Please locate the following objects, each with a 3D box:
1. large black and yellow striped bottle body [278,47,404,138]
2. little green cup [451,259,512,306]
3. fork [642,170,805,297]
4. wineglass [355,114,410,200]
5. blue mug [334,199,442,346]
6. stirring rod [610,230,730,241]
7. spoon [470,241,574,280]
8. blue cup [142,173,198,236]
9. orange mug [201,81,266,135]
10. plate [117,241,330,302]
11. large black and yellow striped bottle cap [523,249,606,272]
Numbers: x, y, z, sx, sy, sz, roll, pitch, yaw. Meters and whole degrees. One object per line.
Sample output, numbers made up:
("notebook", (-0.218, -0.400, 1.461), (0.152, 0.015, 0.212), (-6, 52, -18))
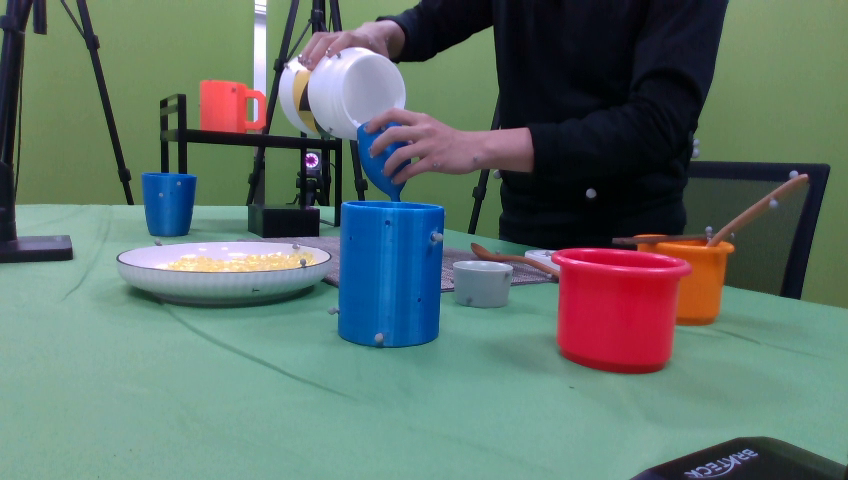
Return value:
("large black and yellow striped bottle body", (-0.125, -0.221, 0.915), (0.131, 0.130, 0.183), (-4, 12, -37))
("little green cup", (0.057, 0.043, 0.611), (0.061, 0.038, 0.061), (3, 8, 0))
("fork", (0.261, 0.004, 0.545), (0.028, 0.018, 0.207), (5, -37, -15))
("wineglass", (-0.046, -0.080, 0.831), (0.074, 0.172, 0.074), (-13, -7, -1))
("blue mug", (-0.034, 0.020, 0.498), (0.083, 0.106, 0.116), (0, 7, -19))
("stirring rod", (0.241, -0.005, 0.582), (0.177, 0.006, 0.014), (-3, 10, -34))
("spoon", (0.124, 0.025, 0.800), (0.042, 0.021, 0.192), (23, -6, -34))
("blue cup", (-0.425, -0.060, 1.014), (0.093, 0.100, 0.092), (4, 9, 0))
("orange mug", (-0.377, -0.260, 1.198), (0.126, 0.101, 0.083), (-3, 8, -6))
("plate", (-0.203, 0.031, 0.630), (0.209, 0.038, 0.209), (3, 7, 0))
("large black and yellow striped bottle cap", (0.198, 0.028, 0.851), (0.115, 0.019, 0.115), (5, 5, 0))
